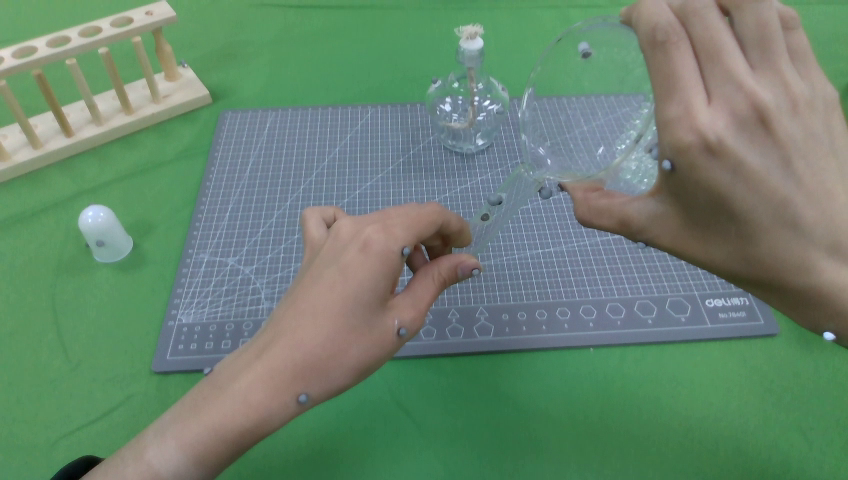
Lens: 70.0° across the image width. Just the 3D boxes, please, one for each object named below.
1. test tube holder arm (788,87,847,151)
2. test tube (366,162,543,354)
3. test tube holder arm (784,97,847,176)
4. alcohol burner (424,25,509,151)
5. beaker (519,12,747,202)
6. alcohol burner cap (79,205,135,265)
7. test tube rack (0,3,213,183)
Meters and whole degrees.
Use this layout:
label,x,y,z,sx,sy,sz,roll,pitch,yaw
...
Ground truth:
label,x,y,z,sx,sy,sz,roll,pitch,yaw
test tube holder arm,0.329,-0.098,0.499,0.015,0.010,0.087,1,47,-7
test tube,0.011,0.016,0.332,0.017,0.150,0.017,29,31,-19
test tube holder arm,0.332,-0.062,0.473,0.015,0.013,0.176,1,46,-7
alcohol burner,0.039,-0.139,0.545,0.078,0.120,0.077,0,50,0
beaker,0.106,-0.057,0.305,0.101,0.084,0.073,6,42,-40
alcohol burner cap,-0.258,-0.007,0.488,0.034,0.048,0.033,0,48,1
test tube rack,-0.338,-0.137,0.573,0.242,0.086,0.066,-28,54,-21
